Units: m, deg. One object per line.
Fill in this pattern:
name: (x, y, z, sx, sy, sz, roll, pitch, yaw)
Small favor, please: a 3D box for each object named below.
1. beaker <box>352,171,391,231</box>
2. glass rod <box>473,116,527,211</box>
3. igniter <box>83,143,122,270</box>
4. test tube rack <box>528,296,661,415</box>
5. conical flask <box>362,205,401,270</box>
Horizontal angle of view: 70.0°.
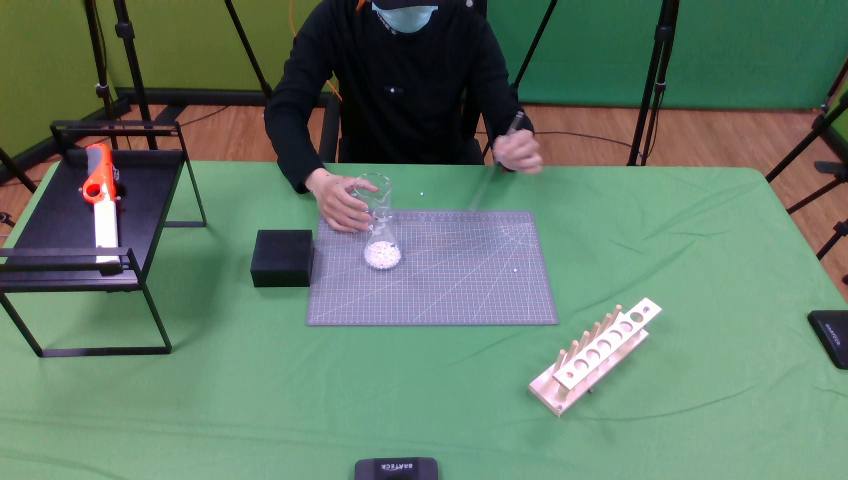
beaker: (-0.102, -0.072, 1.202, 0.074, 0.101, 0.083, -19, 51, -20)
glass rod: (0.140, -0.140, 1.125, 0.008, 0.200, 0.008, 26, 15, -7)
igniter: (-0.508, -0.063, 0.961, 0.057, 0.025, 0.274, -14, 53, -18)
test tube rack: (0.285, 0.178, 1.005, 0.242, 0.085, 0.066, -31, 56, -29)
conical flask: (-0.078, -0.008, 1.127, 0.075, 0.122, 0.075, 2, 46, -2)
